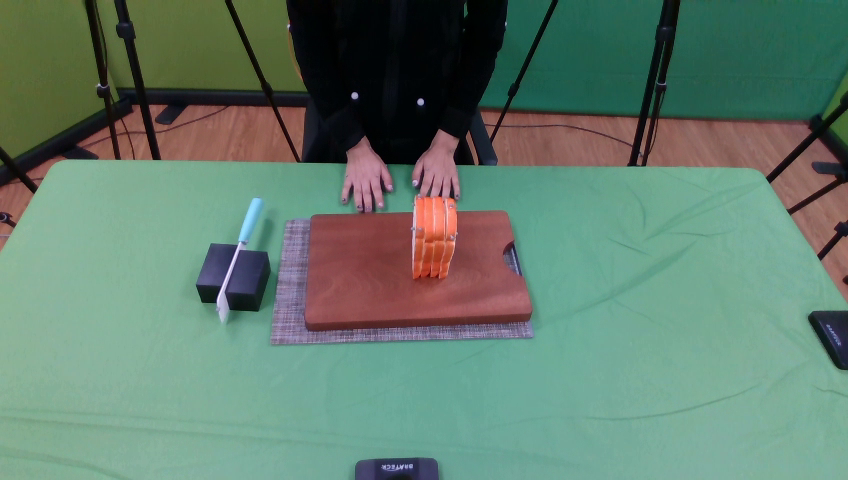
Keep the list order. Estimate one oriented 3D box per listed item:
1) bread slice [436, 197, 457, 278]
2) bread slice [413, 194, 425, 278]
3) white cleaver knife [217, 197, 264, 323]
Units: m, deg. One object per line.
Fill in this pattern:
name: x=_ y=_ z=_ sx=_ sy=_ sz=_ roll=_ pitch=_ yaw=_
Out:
bread slice: x=0.040 y=-0.010 z=1.097 sx=0.019 sy=0.132 sz=0.104 roll=4 pitch=48 yaw=-7
bread slice: x=-0.010 y=-0.015 z=1.095 sx=0.018 sy=0.135 sz=0.106 roll=0 pitch=43 yaw=-3
white cleaver knife: x=-0.341 y=0.027 z=1.118 sx=0.021 sy=0.066 sz=0.284 roll=9 pitch=45 yaw=-3
